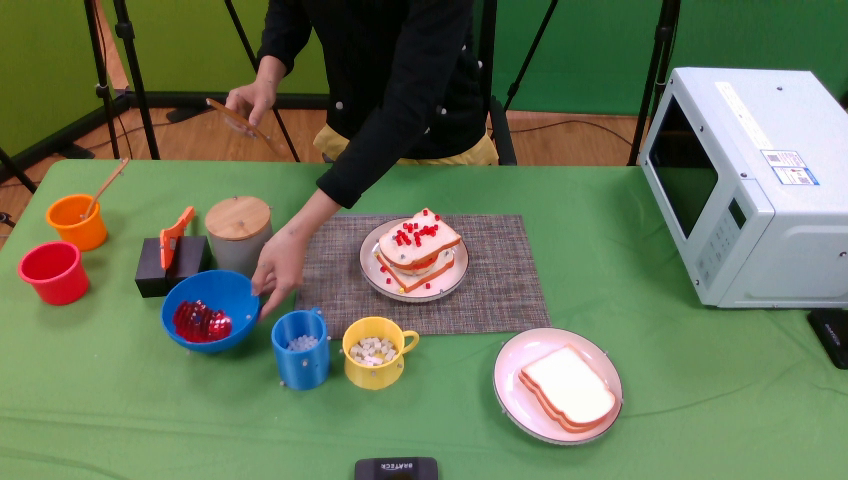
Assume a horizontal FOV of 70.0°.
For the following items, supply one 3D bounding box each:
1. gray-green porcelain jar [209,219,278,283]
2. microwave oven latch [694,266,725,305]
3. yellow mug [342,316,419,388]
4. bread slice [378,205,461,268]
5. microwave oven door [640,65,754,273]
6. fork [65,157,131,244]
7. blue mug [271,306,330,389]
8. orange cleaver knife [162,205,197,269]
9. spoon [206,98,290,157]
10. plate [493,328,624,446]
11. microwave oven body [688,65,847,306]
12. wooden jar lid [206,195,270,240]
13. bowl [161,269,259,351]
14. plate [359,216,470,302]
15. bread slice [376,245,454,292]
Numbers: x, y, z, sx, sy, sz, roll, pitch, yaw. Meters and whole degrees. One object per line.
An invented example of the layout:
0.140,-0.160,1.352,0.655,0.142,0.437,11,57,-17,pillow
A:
-0.323,0.008,1.093,0.106,0.127,0.105,1,46,-1,gray-green porcelain jar
0.523,0.082,1.115,0.030,0.029,0.078,3,46,0,microwave oven latch
-0.068,0.177,0.990,0.131,0.064,0.099,-15,50,-20,yellow mug
-0.013,-0.002,1.097,0.134,0.018,0.106,-34,51,-23,bread slice
0.522,-0.147,1.193,0.039,0.245,0.353,0,47,-3,microwave oven door
-0.608,-0.074,1.133,0.207,0.019,0.028,-52,51,10,fork
-0.188,0.163,0.969,0.082,0.106,0.116,15,47,10,blue mug
-0.454,-0.010,1.129,0.012,0.077,0.210,0,20,-5,orange cleaver knife
-0.320,-0.208,1.117,0.021,0.195,0.041,-29,53,18,spoon
0.213,0.236,0.974,0.208,0.039,0.206,2,46,-2,plate
0.669,-0.111,1.176,0.326,0.261,0.439,0,46,-3,microwave oven body
-0.319,-0.036,1.046,0.108,0.021,0.107,1,44,-1,wooden jar lid
-0.342,0.128,0.995,0.151,0.077,0.150,2,47,-2,bowl
-0.019,0.038,1.140,0.209,0.038,0.208,2,46,-2,plate
-0.010,0.034,1.150,0.131,0.019,0.104,-28,56,-24,bread slice
